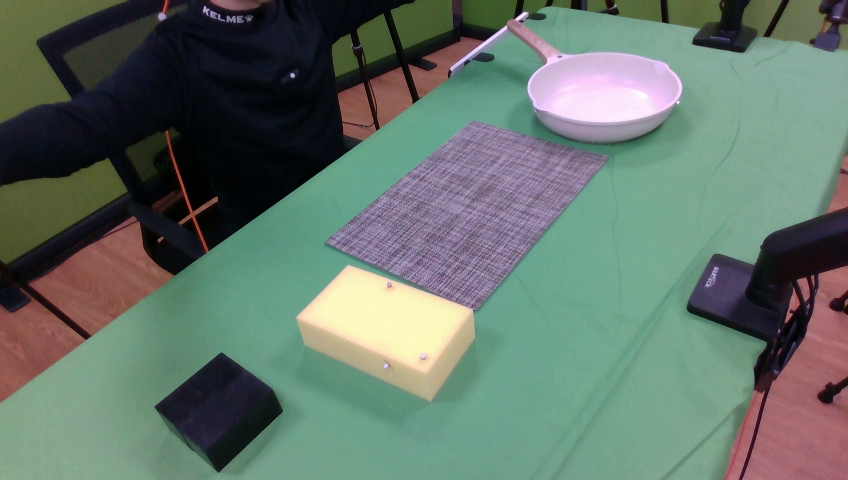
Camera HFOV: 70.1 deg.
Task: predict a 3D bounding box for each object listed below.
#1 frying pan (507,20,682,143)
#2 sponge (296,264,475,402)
[{"bbox_3d":[0.312,-0.352,1.271,0.308,0.103,0.483,-20,51,-16],"label":"frying pan"},{"bbox_3d":[-0.050,0.118,0.811,0.205,0.061,0.118,17,47,26],"label":"sponge"}]
